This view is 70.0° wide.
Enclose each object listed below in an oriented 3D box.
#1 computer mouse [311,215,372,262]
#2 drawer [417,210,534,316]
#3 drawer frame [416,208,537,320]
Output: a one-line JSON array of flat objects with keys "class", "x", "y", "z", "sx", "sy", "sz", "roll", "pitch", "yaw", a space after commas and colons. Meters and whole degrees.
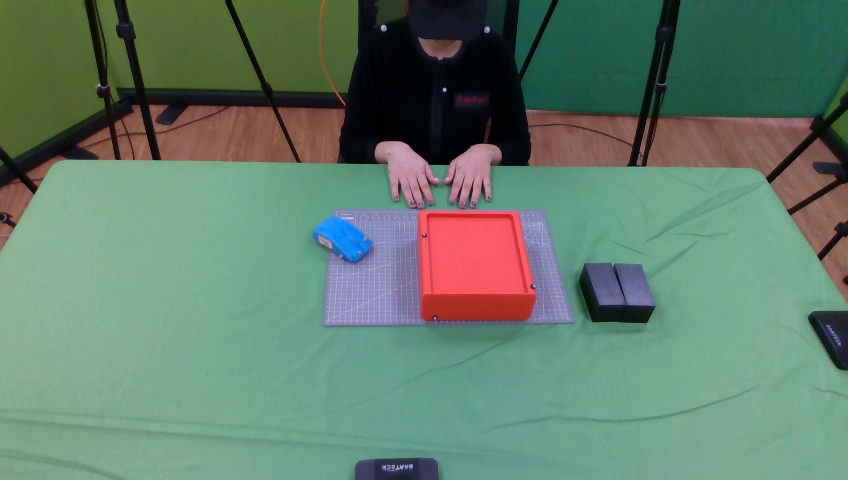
[{"class": "computer mouse", "x": -0.160, "y": -0.006, "z": 1.178, "sx": 0.117, "sy": 0.041, "sz": 0.062, "roll": 32, "pitch": 50, "yaw": 19}, {"class": "drawer", "x": 0.088, "y": 0.040, "z": 1.122, "sx": 0.195, "sy": 0.073, "sz": 0.210, "roll": 1, "pitch": 46, "yaw": -4}, {"class": "drawer frame", "x": 0.089, "y": 0.040, "z": 1.120, "sx": 0.202, "sy": 0.083, "sz": 0.212, "roll": 0, "pitch": 47, "yaw": -5}]
